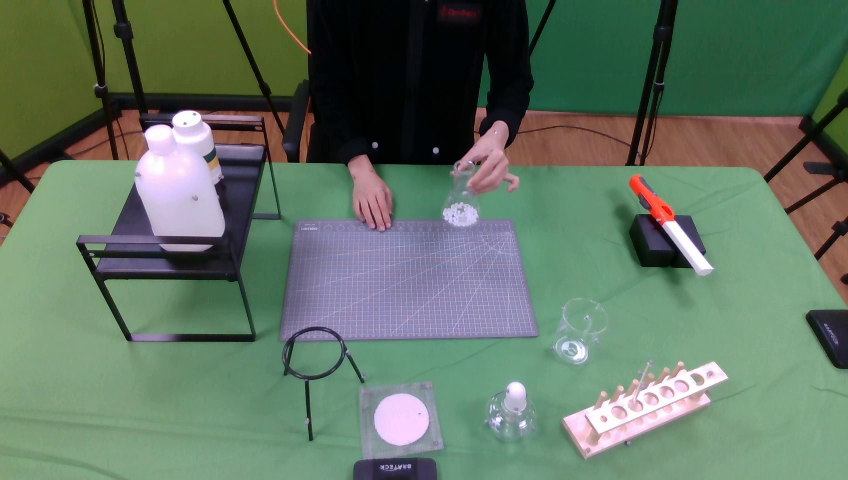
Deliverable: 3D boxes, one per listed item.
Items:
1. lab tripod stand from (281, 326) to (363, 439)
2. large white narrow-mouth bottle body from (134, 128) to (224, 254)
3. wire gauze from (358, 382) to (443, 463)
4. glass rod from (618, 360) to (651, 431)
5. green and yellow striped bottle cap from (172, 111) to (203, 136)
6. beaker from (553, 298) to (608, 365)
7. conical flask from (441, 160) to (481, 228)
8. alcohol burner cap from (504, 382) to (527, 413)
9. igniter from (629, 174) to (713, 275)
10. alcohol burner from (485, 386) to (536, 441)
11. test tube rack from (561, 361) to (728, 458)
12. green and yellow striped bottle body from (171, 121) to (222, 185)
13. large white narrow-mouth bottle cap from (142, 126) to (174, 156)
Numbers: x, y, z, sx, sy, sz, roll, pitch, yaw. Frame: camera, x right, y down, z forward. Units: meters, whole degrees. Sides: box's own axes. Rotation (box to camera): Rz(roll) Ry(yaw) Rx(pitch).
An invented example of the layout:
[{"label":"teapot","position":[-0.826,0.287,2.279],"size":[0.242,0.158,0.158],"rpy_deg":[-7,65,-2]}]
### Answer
[{"label":"lab tripod stand","position":[-0.166,0.202,0.913],"size":[0.148,0.132,0.147],"rpy_deg":[1,47,-1]},{"label":"large white narrow-mouth bottle body","position":[-0.358,-0.075,0.875],"size":[0.102,0.195,0.101],"rpy_deg":[1,48,-1]},{"label":"wire gauze","position":[-0.039,0.277,0.937],"size":[0.121,0.011,0.124],"rpy_deg":[-4,47,-7]},{"label":"glass rod","position":[0.298,0.227,0.865],"size":[0.008,0.201,0.008],"rpy_deg":[-1,47,2]},{"label":"green and yellow striped bottle cap","position":[-0.374,-0.185,0.958],"size":[0.045,0.020,0.045],"rpy_deg":[4,46,-4]},{"label":"beaker","position":[0.260,0.154,1.015],"size":[0.073,0.101,0.084],"rpy_deg":[37,54,27]},{"label":"conical flask","position":[0.070,-0.085,1.087],"size":[0.075,0.122,0.075],"rpy_deg":[1,47,0]},{"label":"alcohol burner cap","position":[0.133,0.225,0.877],"size":[0.034,0.048,0.033],"rpy_deg":[-4,47,5]},{"label":"igniter","position":[0.481,-0.040,1.202],"size":[0.057,0.025,0.274],"rpy_deg":[-2,46,-21]},{"label":"alcohol burner","position":[0.131,0.249,0.904],"size":[0.078,0.120,0.077],"rpy_deg":[1,48,-1]},{"label":"test tube rack","position":[0.341,0.248,0.940],"size":[0.243,0.085,0.066],"rpy_deg":[-15,49,-18]},{"label":"green and yellow striped bottle body","position":[-0.375,-0.149,0.995],"size":[0.063,0.120,0.063],"rpy_deg":[2,46,-2]},{"label":"large white narrow-mouth bottle cap","position":[-0.356,-0.132,0.812],"size":[0.038,0.024,0.037],"rpy_deg":[2,48,-2]}]
